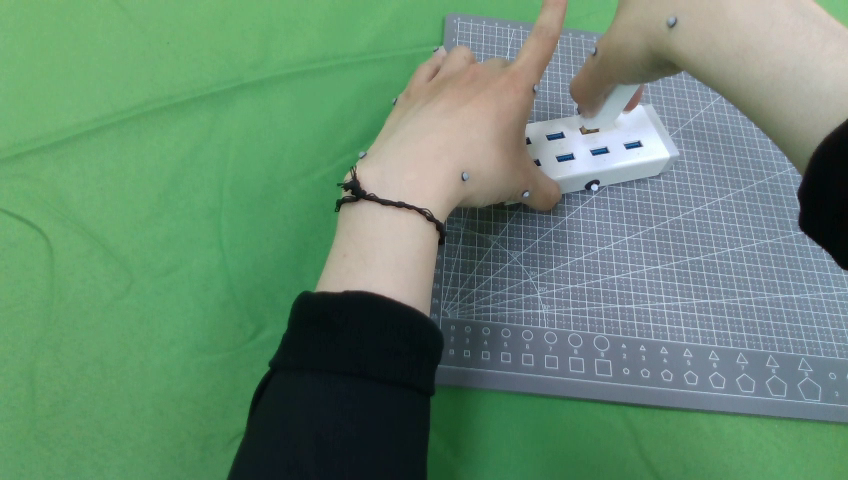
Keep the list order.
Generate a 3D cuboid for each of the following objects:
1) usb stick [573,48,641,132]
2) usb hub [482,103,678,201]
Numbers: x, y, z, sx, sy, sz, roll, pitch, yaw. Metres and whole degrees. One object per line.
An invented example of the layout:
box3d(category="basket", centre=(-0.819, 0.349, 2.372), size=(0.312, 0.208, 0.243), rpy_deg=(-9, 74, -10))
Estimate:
box3d(category="usb stick", centre=(0.115, -0.094, 0.394), size=(0.021, 0.059, 0.027), rpy_deg=(-13, 64, -16))
box3d(category="usb hub", centre=(0.106, -0.063, 0.416), size=(0.125, 0.025, 0.049), rpy_deg=(-11, 64, -14))
